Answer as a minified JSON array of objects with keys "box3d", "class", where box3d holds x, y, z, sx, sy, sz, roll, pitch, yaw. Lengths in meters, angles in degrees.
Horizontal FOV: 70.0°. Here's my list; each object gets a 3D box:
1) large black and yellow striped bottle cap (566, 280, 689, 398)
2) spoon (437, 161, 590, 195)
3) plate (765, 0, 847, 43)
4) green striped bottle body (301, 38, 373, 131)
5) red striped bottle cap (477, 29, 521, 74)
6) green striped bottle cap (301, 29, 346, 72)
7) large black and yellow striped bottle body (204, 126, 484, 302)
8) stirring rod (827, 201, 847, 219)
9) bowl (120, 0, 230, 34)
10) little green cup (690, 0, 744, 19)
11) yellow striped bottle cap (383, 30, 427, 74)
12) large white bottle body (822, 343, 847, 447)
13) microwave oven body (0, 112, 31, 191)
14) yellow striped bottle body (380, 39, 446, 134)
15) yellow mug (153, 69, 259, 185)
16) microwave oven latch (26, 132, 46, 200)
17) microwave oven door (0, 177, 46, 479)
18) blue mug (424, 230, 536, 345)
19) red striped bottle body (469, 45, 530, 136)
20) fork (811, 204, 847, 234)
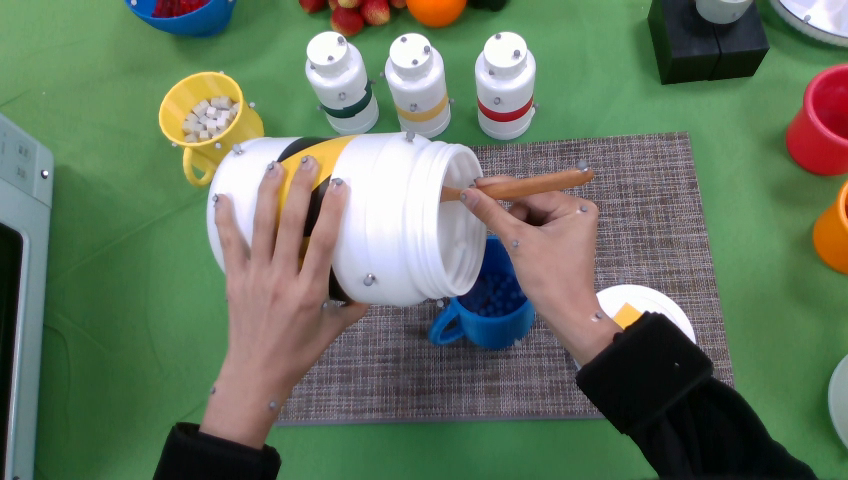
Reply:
[{"box3d":[0.197,0.095,0.590,0.115,0.019,0.114,-2,68,6],"class":"large black and yellow striped bottle cap"},{"box3d":[0.034,-0.042,0.454,0.192,0.042,0.021,2,44,43],"class":"spoon"},{"box3d":[0.488,-0.310,0.701,0.209,0.038,0.207,-2,70,6],"class":"plate"},{"box3d":[-0.098,-0.179,0.679,0.063,0.120,0.062,-2,69,6],"class":"green striped bottle body"},{"box3d":[0.075,-0.189,0.605,0.044,0.018,0.044,-1,67,3],"class":"red striped bottle cap"},{"box3d":[-0.105,-0.197,0.631,0.044,0.020,0.044,-3,67,7],"class":"green striped bottle cap"},{"box3d":[-0.056,-0.020,0.467,0.183,0.132,0.130,2,69,23],"class":"large black and yellow striped bottle body"},{"box3d":[0.412,-0.001,0.540,0.014,0.006,0.175,0,26,4],"class":"stirring rod"},{"box3d":[-0.306,-0.321,0.781,0.151,0.077,0.150,-2,69,6],"class":"bowl"},{"box3d":[0.319,-0.271,0.652,0.061,0.039,0.061,-2,67,5],"class":"little green cup"},{"box3d":[-0.019,-0.192,0.618,0.044,0.019,0.044,-1,66,2],"class":"yellow striped bottle cap"},{"box3d":[0.418,0.117,0.468,0.130,0.186,0.129,-2,68,6],"class":"large white bottle body"},{"box3d":[-0.592,0.072,0.564,0.326,0.262,0.438,-12,69,2],"class":"microwave oven body"},{"box3d":[-0.012,-0.174,0.666,0.063,0.121,0.062,-2,68,7],"class":"yellow striped bottle body"},{"box3d":[-0.257,-0.127,0.707,0.100,0.064,0.130,6,71,9],"class":"yellow mug"},{"box3d":[-0.466,-0.084,0.712,0.030,0.030,0.078,-11,69,2],"class":"microwave oven latch"},{"box3d":[-0.442,0.079,0.538,0.039,0.245,0.353,-12,68,3],"class":"microwave oven door"},{"box3d":[0.049,0.057,0.575,0.116,0.106,0.081,-35,68,-7],"class":"blue mug"},{"box3d":[0.082,-0.170,0.654,0.063,0.120,0.062,-2,68,6],"class":"red striped bottle body"},{"box3d":[0.441,0.000,0.529,0.028,0.019,0.205,-32,24,-12],"class":"fork"}]
